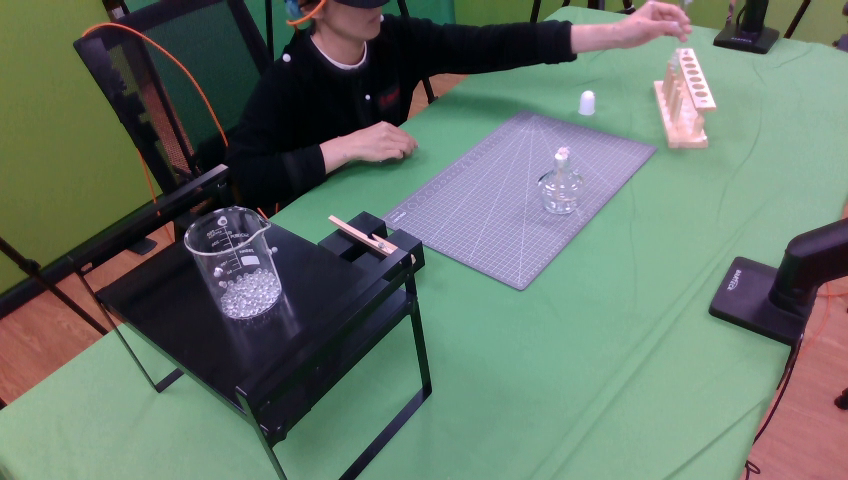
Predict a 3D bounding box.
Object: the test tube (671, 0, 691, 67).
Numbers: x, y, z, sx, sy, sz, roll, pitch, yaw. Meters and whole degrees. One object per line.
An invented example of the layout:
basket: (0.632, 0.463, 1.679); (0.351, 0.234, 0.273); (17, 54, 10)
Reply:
test tube: (0.449, -0.376, 1.052); (0.017, 0.151, 0.017); (-4, 35, 3)

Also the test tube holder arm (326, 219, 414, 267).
test tube holder arm: (-0.086, 0.003, 0.916); (0.177, 0.015, 0.013); (23, 48, 31)

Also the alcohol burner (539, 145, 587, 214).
alcohol burner: (0.226, -0.102, 0.986); (0.078, 0.119, 0.077); (-6, 41, 6)

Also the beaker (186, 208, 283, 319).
beaker: (-0.192, 0.026, 0.637); (0.084, 0.101, 0.073); (-13, 41, -7)

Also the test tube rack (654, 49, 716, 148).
test tube rack: (0.502, -0.281, 1.176); (0.066, 0.085, 0.241); (2, 41, 11)

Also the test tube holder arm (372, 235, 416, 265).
test tube holder arm: (-0.047, 0.015, 0.895); (0.087, 0.015, 0.010); (25, 49, 32)

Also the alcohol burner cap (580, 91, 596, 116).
alcohol burner cap: (0.338, -0.283, 1.239); (0.034, 0.048, 0.033); (-4, 42, 4)
